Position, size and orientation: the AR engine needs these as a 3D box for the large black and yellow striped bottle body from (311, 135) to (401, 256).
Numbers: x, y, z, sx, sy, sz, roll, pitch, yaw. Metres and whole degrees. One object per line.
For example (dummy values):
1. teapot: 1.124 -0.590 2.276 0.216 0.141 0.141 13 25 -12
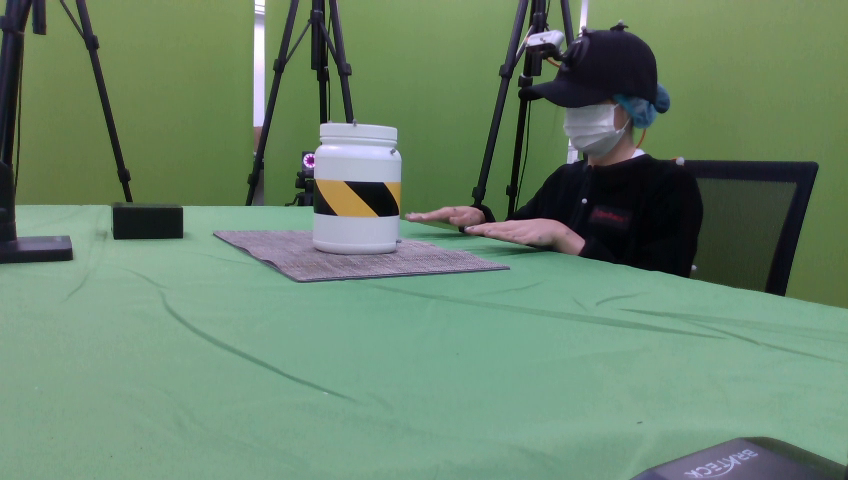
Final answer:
1. large black and yellow striped bottle body: -0.101 -0.075 0.904 0.131 0.184 0.130 3 7 0

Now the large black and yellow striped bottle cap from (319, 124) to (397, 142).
1. large black and yellow striped bottle cap: -0.098 -0.158 0.895 0.115 0.019 0.115 5 7 0
